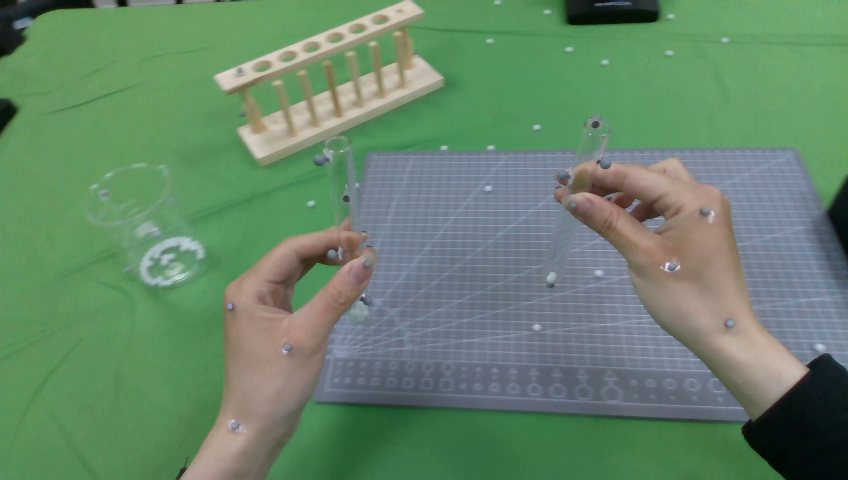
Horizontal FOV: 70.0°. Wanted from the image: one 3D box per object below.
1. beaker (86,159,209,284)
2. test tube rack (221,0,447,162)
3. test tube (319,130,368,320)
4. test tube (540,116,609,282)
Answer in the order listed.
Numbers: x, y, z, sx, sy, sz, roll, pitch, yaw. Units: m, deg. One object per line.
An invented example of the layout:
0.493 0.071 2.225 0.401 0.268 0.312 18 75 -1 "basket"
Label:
-0.247 -0.015 0.559 0.073 0.101 0.083 23 56 23 "beaker"
-0.095 -0.186 0.694 0.242 0.086 0.066 -27 53 -16 "test tube rack"
-0.048 -0.001 0.374 0.017 0.152 0.017 0 44 1 "test tube"
0.096 -0.019 0.399 0.017 0.151 0.017 1 51 -1 "test tube"
